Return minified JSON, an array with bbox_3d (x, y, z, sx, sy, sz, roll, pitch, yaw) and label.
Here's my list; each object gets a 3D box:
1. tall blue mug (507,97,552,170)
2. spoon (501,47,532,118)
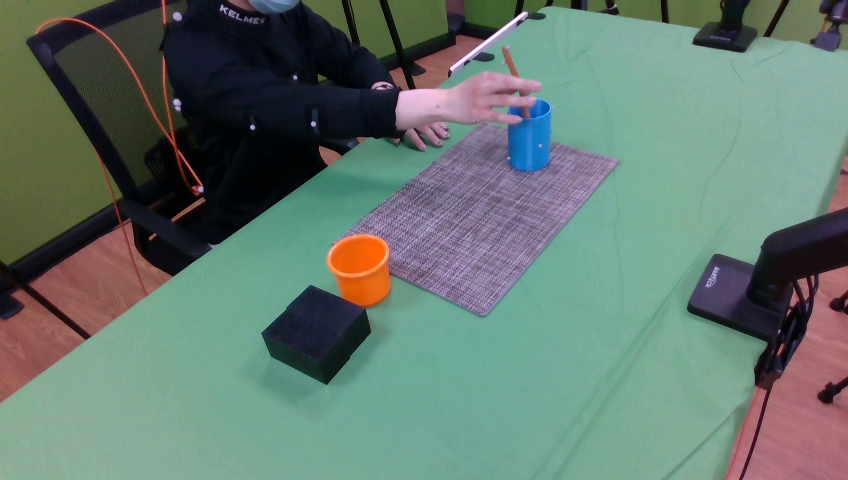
[{"bbox_3d":[0.179,-0.198,1.101,0.078,0.108,0.106,-36,49,-28],"label":"tall blue mug"},{"bbox_3d":[0.165,-0.245,1.032,0.022,0.195,0.041,-38,38,-16],"label":"spoon"}]
